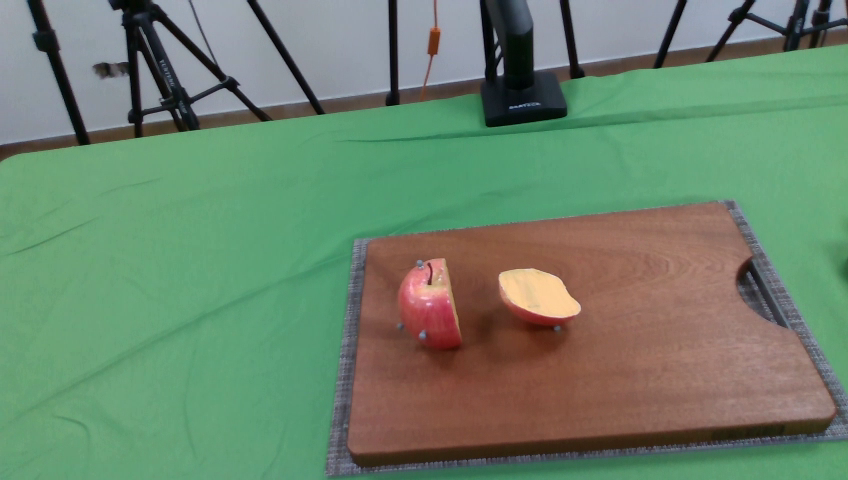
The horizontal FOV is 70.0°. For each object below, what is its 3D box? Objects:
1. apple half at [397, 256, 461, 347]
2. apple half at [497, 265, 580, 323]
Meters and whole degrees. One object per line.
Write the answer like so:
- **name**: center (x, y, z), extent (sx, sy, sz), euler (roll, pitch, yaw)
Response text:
- **apple half**: center (0.002, 0.061, 0.566), extent (0.053, 0.075, 0.080), euler (-14, 47, 3)
- **apple half**: center (0.102, 0.057, 0.573), extent (0.081, 0.033, 0.080), euler (11, 30, -6)
